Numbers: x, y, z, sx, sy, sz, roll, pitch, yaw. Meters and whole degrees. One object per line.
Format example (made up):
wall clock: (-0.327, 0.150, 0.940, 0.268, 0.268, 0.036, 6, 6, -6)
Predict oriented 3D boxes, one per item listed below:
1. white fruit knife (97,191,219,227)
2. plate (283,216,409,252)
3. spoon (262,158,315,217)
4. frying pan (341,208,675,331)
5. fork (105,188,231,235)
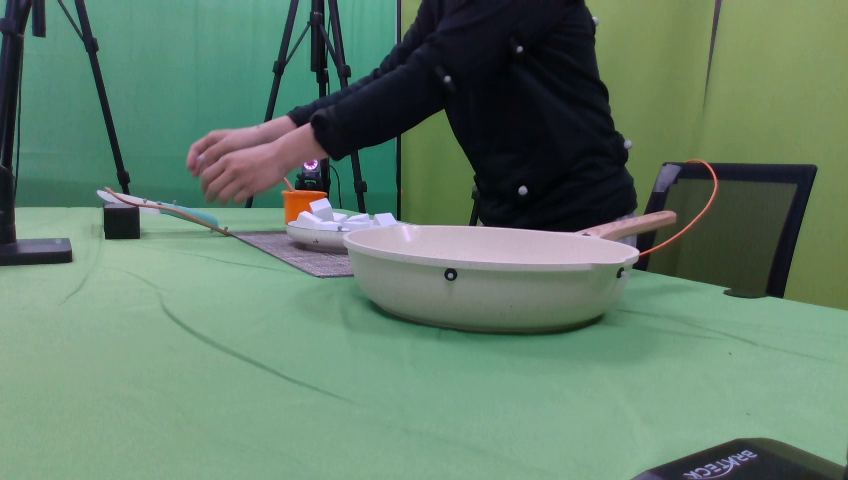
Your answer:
white fruit knife: (-0.468, -0.056, 1.079, 0.208, 0.027, 0.016, 15, -1, -29)
plate: (-0.119, -0.009, 0.968, 0.208, 0.039, 0.207, 3, 7, 0)
spoon: (-0.276, -0.103, 1.251, 0.021, 0.193, 0.042, -43, -15, 22)
frying pan: (0.144, 0.008, 0.677, 0.490, 0.102, 0.305, -13, 16, -36)
fork: (-0.428, -0.046, 1.021, 0.208, 0.018, 0.028, 19, -5, -26)
